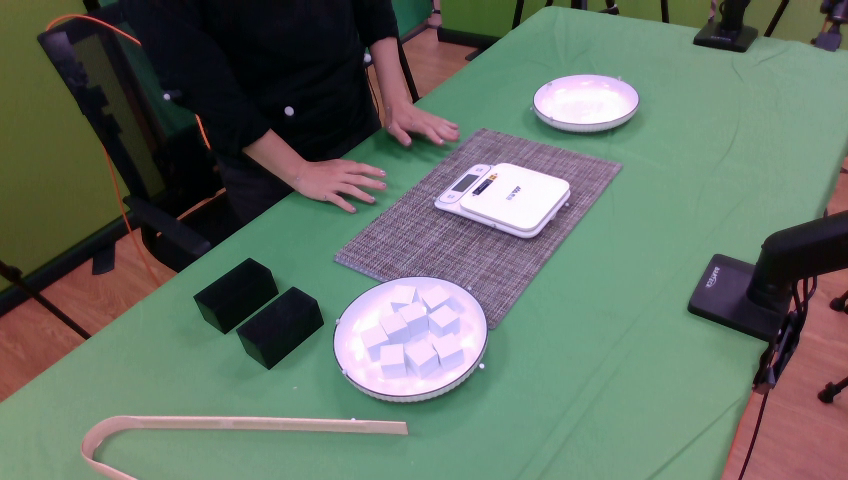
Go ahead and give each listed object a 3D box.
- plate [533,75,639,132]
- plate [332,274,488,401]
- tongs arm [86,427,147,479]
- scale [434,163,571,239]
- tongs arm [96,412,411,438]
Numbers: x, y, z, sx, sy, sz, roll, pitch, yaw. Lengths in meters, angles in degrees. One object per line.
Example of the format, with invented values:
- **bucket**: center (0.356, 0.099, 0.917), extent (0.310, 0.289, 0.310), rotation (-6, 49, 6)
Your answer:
- **plate**: center (0.327, -0.272, 1.228), extent (0.209, 0.038, 0.208), rotation (-4, 40, 4)
- **plate**: center (-0.017, 0.130, 0.808), extent (0.207, 0.039, 0.206), rotation (-4, 41, 4)
- **tongs arm**: center (-0.232, 0.280, 0.665), extent (0.383, 0.026, 0.051), rotation (9, 42, 20)
- **scale**: center (0.132, -0.075, 1.025), extent (0.199, 0.032, 0.149), rotation (22, 48, 30)
- **tongs arm**: center (-0.208, 0.226, 0.731), extent (0.387, 0.028, 0.028), rotation (-1, 43, 7)
